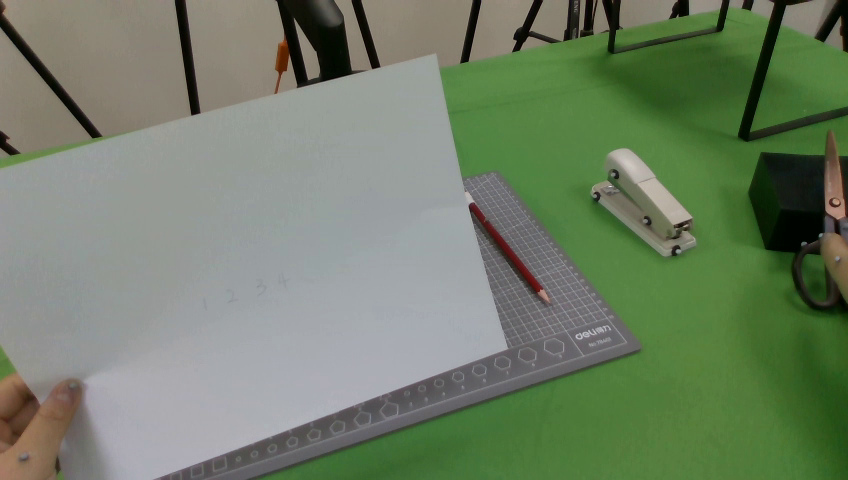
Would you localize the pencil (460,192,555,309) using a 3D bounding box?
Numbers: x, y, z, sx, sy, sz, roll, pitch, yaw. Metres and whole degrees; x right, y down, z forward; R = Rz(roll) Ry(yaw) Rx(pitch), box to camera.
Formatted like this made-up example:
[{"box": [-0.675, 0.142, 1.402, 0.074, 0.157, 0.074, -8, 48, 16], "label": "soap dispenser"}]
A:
[{"box": [0.080, 0.006, 0.609, 0.012, 0.012, 0.191, -17, 43, -15], "label": "pencil"}]

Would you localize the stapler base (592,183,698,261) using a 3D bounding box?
[{"box": [0.227, -0.029, 0.630, 0.041, 0.025, 0.129, -20, 43, -14], "label": "stapler base"}]

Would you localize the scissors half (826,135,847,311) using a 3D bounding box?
[{"box": [0.380, -0.016, 0.538, 0.040, 0.013, 0.174, -6, 69, 19], "label": "scissors half"}]

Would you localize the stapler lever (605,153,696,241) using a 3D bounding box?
[{"box": [0.226, -0.047, 0.613, 0.027, 0.040, 0.116, -20, 43, -14], "label": "stapler lever"}]

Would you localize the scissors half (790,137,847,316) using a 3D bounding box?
[{"box": [0.362, -0.017, 0.547, 0.040, 0.013, 0.174, 10, 75, 30], "label": "scissors half"}]
